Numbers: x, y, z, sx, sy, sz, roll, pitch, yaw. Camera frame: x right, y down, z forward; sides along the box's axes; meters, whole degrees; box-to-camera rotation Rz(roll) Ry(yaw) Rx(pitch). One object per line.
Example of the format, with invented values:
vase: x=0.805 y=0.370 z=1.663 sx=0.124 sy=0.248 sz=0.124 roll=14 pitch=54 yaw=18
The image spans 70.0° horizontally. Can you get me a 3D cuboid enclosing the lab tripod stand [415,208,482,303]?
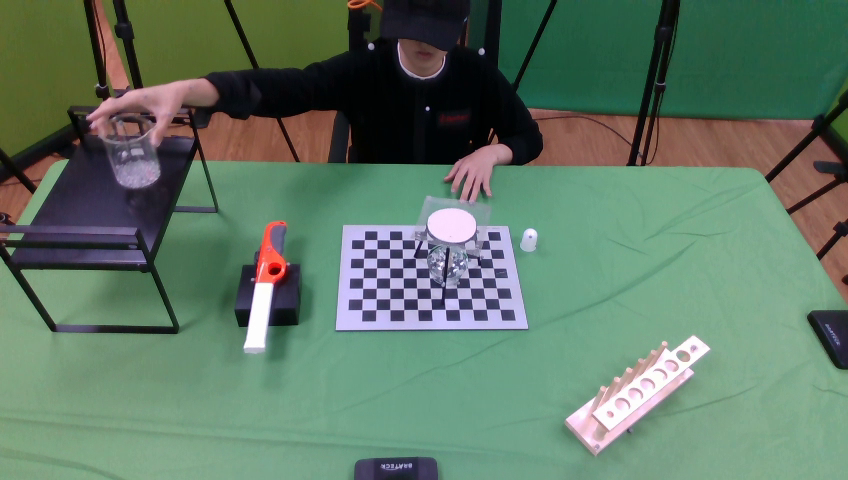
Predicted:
lab tripod stand: x=0.043 y=0.019 z=1.097 sx=0.148 sy=0.132 sz=0.147 roll=0 pitch=46 yaw=0

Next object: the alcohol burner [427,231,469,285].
alcohol burner: x=0.046 y=0.027 z=1.103 sx=0.078 sy=0.119 sz=0.077 roll=3 pitch=45 yaw=-3

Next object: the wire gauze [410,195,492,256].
wire gauze: x=0.049 y=-0.031 z=1.051 sx=0.125 sy=0.011 sz=0.121 roll=12 pitch=47 yaw=10

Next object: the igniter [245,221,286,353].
igniter: x=-0.270 y=0.070 z=1.040 sx=0.057 sy=0.025 sz=0.274 roll=2 pitch=48 yaw=-6

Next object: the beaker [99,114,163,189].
beaker: x=-0.458 y=-0.138 z=0.963 sx=0.084 sy=0.101 sz=0.073 roll=-16 pitch=51 yaw=-23

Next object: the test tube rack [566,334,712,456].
test tube rack: x=0.338 y=0.228 z=0.950 sx=0.242 sy=0.085 sz=0.066 roll=-27 pitch=52 yaw=-26

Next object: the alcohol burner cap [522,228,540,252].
alcohol burner cap: x=0.214 y=-0.003 z=1.198 sx=0.034 sy=0.048 sz=0.033 roll=1 pitch=46 yaw=-1
